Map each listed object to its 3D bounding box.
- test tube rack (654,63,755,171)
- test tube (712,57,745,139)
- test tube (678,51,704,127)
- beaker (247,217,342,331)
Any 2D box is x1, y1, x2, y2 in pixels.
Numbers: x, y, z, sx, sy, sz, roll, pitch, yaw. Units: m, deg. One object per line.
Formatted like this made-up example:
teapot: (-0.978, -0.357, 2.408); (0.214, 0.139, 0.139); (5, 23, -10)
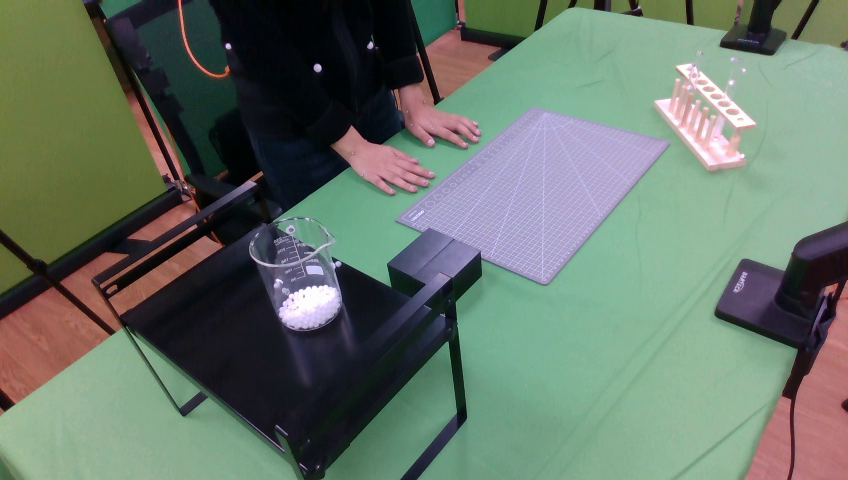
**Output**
test tube rack: (0.510, -0.233, 1.120); (0.067, 0.085, 0.241); (-8, 41, -1)
test tube: (0.529, -0.244, 1.054); (0.017, 0.151, 0.017); (-1, 39, 1)
test tube: (0.486, -0.272, 1.101); (0.017, 0.151, 0.017); (-3, 42, 3)
beaker: (-0.124, 0.037, 0.614); (0.084, 0.101, 0.073); (-7, 41, 0)
